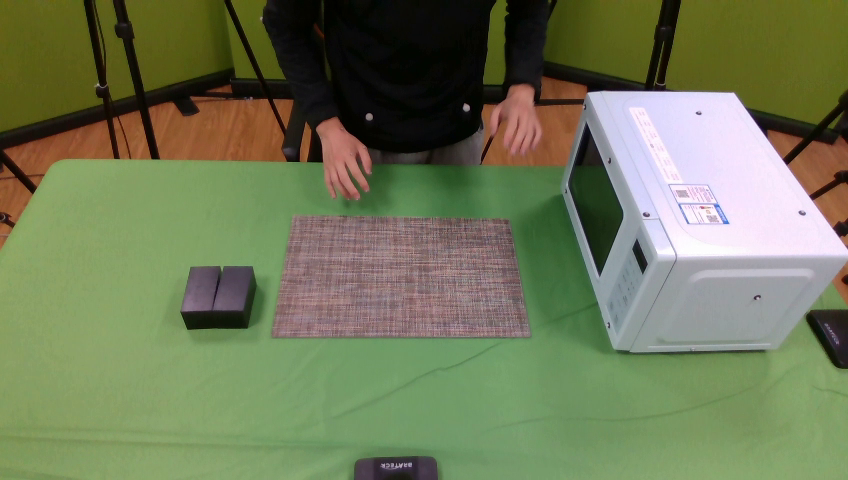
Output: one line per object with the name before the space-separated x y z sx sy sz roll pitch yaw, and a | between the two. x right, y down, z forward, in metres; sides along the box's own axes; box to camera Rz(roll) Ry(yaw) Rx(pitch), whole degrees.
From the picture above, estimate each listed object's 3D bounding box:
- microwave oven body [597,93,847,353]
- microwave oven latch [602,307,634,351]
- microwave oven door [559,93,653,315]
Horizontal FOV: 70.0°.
microwave oven body | 0.475 -0.042 1.109 0.326 0.261 0.438 -1 45 -4
microwave oven latch | 0.332 0.153 1.044 0.030 0.029 0.078 0 45 -4
microwave oven door | 0.327 -0.074 1.123 0.039 0.245 0.353 -1 46 -5
